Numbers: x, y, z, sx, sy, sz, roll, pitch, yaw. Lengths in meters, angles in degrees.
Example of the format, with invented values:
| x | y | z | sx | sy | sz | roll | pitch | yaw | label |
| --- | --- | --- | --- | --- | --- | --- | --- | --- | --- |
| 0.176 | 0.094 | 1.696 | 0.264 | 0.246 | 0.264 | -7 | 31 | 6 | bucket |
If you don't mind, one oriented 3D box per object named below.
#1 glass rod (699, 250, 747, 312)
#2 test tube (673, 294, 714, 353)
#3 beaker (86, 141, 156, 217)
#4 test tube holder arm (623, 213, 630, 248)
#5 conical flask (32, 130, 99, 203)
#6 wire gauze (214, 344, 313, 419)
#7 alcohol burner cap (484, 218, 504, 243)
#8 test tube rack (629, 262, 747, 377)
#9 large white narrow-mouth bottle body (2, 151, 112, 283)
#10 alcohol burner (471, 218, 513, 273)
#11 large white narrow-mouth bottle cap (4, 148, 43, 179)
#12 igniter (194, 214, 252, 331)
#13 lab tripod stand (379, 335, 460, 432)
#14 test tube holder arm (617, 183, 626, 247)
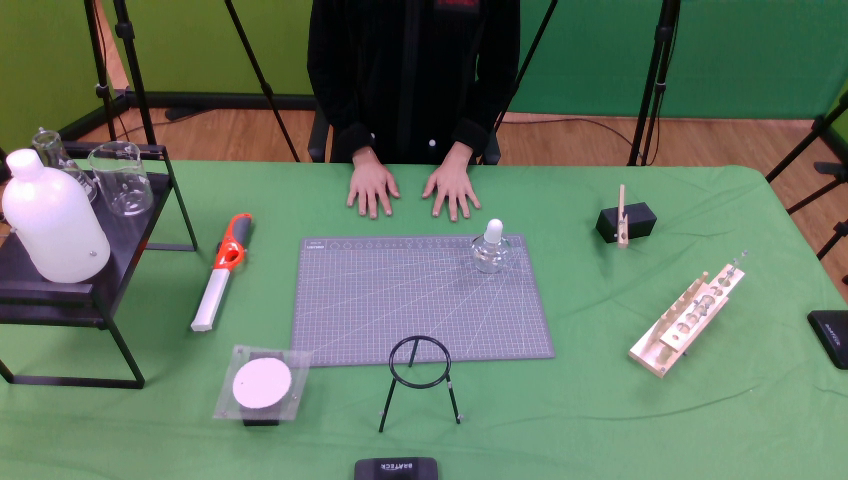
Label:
| x | y | z | sx | sy | sz | roll | pitch | yaw | label |
| --- | --- | --- | --- | --- | --- | --- | --- | --- | --- |
| 0.500 | 0.075 | 1.021 | 0.008 | 0.201 | 0.008 | 0 | 55 | 1 | glass rod |
| 0.428 | 0.137 | 0.978 | 0.017 | 0.151 | 0.017 | 4 | 47 | -4 | test tube |
| -0.467 | -0.092 | 0.950 | 0.084 | 0.101 | 0.073 | 15 | 47 | 11 | beaker |
| 0.392 | -0.020 | 1.180 | 0.010 | 0.015 | 0.087 | 15 | 47 | -1 | test tube holder arm |
| -0.565 | -0.110 | 0.944 | 0.075 | 0.122 | 0.075 | 2 | 46 | -2 | conical flask |
| -0.241 | 0.213 | 0.916 | 0.121 | 0.011 | 0.124 | 5 | 46 | 1 | wire gauze |
| 0.130 | -0.021 | 1.106 | 0.034 | 0.048 | 0.033 | 3 | 51 | -4 | alcohol burner cap |
| 0.464 | 0.126 | 1.061 | 0.242 | 0.085 | 0.066 | -34 | 56 | -31 | test tube rack |
| -0.507 | -0.036 | 0.825 | 0.102 | 0.195 | 0.101 | 1 | 46 | -1 | large white narrow-mouth bottle body |
| 0.128 | 0.005 | 1.132 | 0.078 | 0.120 | 0.077 | 0 | 47 | 0 | alcohol burner |
| -0.505 | -0.096 | 0.765 | 0.038 | 0.024 | 0.037 | 2 | 46 | -1 | large white narrow-mouth bottle cap |
| -0.367 | 0.050 | 1.119 | 0.057 | 0.025 | 0.275 | -4 | 46 | 7 | igniter |
| -0.011 | 0.214 | 0.911 | 0.148 | 0.132 | 0.147 | 1 | 45 | 0 | lab tripod stand |
| 0.395 | -0.053 | 1.211 | 0.013 | 0.015 | 0.177 | 15 | 47 | -1 | test tube holder arm |
